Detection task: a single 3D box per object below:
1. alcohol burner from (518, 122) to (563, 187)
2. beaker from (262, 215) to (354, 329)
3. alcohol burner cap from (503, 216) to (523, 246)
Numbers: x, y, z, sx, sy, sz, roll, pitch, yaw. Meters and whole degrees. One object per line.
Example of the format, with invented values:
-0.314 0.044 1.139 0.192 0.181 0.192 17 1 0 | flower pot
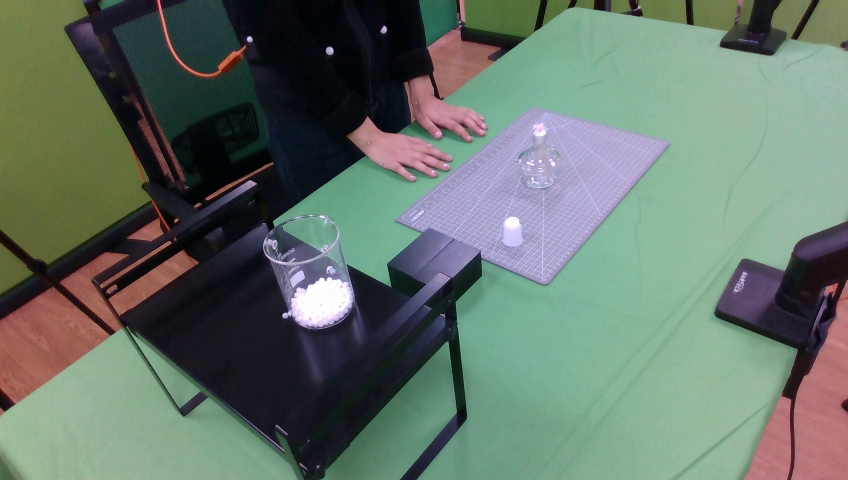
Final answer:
0.201 -0.151 1.046 0.078 0.119 0.077 -6 42 6 | alcohol burner
-0.112 0.034 0.616 0.073 0.101 0.084 13 44 23 | beaker
0.140 -0.017 0.954 0.034 0.048 0.033 -4 42 4 | alcohol burner cap
